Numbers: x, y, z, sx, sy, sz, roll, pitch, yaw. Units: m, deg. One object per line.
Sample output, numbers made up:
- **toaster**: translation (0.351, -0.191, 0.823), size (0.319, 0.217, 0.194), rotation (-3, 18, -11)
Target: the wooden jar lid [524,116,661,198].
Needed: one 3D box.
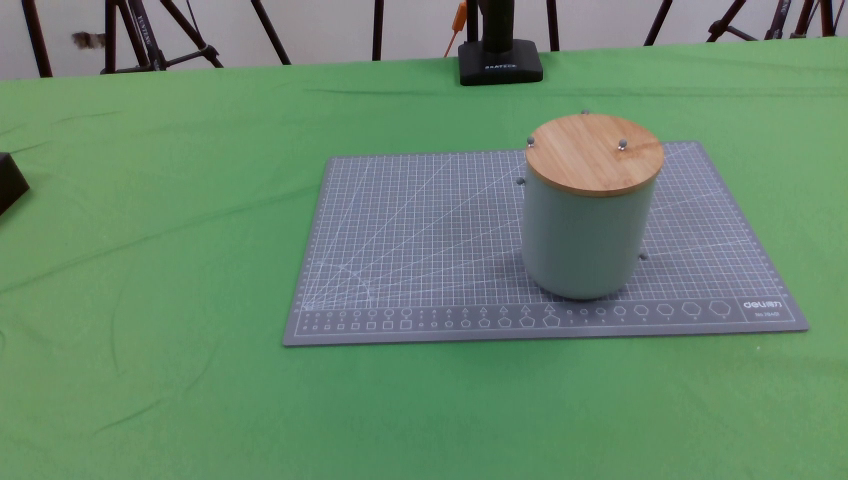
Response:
- **wooden jar lid**: translation (0.136, -0.065, 0.494), size (0.108, 0.021, 0.107), rotation (-3, 42, 3)

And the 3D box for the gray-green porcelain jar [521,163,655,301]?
- **gray-green porcelain jar**: translation (0.139, -0.018, 0.535), size (0.106, 0.128, 0.105), rotation (-3, 41, 3)
